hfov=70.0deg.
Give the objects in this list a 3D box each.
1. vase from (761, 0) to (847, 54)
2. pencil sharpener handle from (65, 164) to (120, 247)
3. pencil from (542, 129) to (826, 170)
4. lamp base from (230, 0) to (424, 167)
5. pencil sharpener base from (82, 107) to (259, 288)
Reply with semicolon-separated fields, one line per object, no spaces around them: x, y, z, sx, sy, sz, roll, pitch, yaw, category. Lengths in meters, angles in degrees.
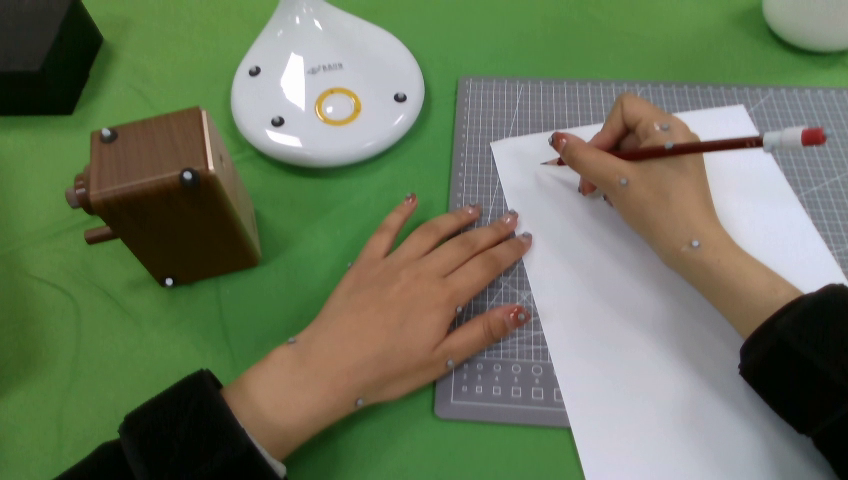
0.344;-0.246;0.468;0.098;0.202;0.097;-1;56;2;vase
-0.211;-0.017;0.380;0.031;0.068;0.035;-15;61;-7;pencil sharpener handle
0.146;-0.054;0.384;0.012;0.012;0.193;-48;27;-25;pencil
-0.089;-0.175;0.448;0.161;0.182;0.177;-24;58;-13;lamp base
-0.161;-0.023;0.397;0.077;0.108;0.060;-15;59;-7;pencil sharpener base
